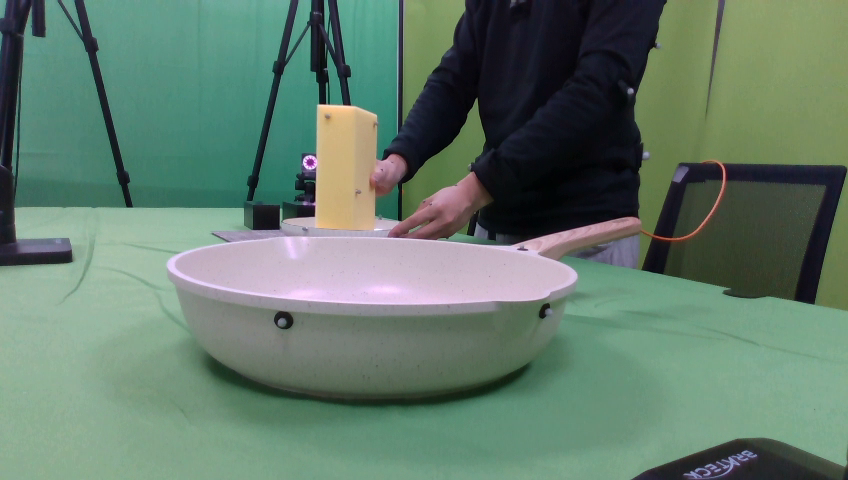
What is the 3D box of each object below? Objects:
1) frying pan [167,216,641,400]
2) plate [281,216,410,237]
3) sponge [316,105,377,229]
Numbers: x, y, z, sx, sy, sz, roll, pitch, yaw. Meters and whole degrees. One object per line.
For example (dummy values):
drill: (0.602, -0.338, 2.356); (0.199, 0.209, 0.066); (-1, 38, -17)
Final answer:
frying pan: (0.046, 0.024, 0.519); (0.490, 0.102, 0.305); (-14, 16, -37)
plate: (-0.126, -0.012, 0.986); (0.208, 0.039, 0.207); (2, 7, 0)
sponge: (-0.120, -0.101, 0.947); (0.061, 0.206, 0.118); (4, 8, 10)
